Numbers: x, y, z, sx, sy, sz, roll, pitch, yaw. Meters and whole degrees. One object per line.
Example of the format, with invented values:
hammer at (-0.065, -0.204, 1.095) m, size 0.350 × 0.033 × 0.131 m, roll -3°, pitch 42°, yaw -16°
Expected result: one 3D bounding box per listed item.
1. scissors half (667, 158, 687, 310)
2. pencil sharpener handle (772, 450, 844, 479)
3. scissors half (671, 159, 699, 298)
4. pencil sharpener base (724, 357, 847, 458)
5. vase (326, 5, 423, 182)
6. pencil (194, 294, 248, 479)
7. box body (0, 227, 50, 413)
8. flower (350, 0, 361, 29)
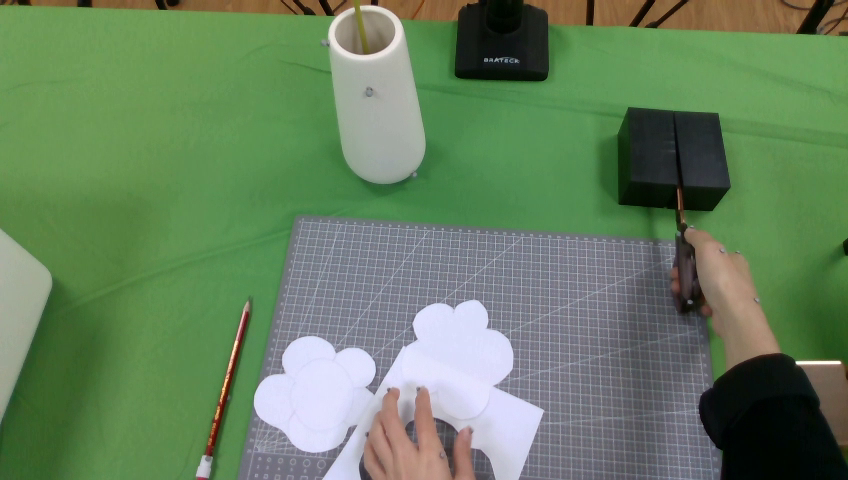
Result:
scissors half at (0.267, -0.010, 0.645) m, size 0.013 × 0.040 × 0.174 m, roll 5°, pitch 72°, yaw 8°
pencil sharpener handle at (0.318, 0.194, 0.502) m, size 0.036 × 0.068 × 0.030 m, roll 6°, pitch 63°, yaw -11°
scissors half at (0.266, -0.019, 0.626) m, size 0.013 × 0.040 × 0.173 m, roll 7°, pitch 54°, yaw 3°
pencil sharpener base at (0.323, 0.154, 0.536) m, size 0.061 × 0.108 × 0.076 m, roll 0°, pitch 64°, yaw 1°
vase at (-0.053, -0.148, 0.642) m, size 0.098 × 0.201 × 0.097 m, roll -1°, pitch 62°, yaw 2°
pencil at (-0.200, 0.143, 0.608) m, size 0.012 × 0.012 × 0.192 m, roll 5°, pitch 62°, yaw 4°
box body at (-0.535, 0.140, 0.531) m, size 0.254 × 0.161 × 0.361 m, roll 4°, pitch 64°, yaw 3°
flower at (-0.061, -0.198, 0.574) m, size 0.044 × 0.365 × 0.038 m, roll -3°, pitch 46°, yaw 4°
